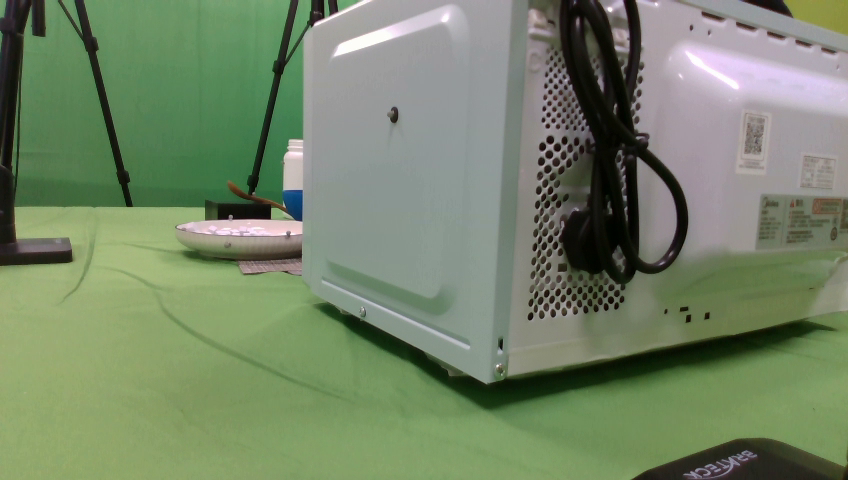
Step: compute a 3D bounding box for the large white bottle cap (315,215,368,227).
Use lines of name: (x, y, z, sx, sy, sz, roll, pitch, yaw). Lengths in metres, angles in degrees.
large white bottle cap: (-0.177, -0.041, 1.309, 0.115, 0.018, 0.115, 2, 6, 0)

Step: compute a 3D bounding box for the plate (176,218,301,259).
plate: (-0.248, -0.003, 0.877, 0.209, 0.038, 0.209, 1, 8, 0)

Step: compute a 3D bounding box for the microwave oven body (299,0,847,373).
microwave oven body: (0.152, -0.055, 0.542, 0.444, 0.260, 0.324, -2, 7, -33)

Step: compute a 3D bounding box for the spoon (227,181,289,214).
spoon: (-0.315, -0.074, 1.235, 0.195, 0.021, 0.041, 24, -11, -37)

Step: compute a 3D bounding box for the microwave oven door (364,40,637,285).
microwave oven door: (0.105, -0.081, 0.693, 0.358, 0.243, 0.039, -2, 9, -30)

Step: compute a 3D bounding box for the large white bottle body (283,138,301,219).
large white bottle body: (-0.265, -0.143, 1.423, 0.131, 0.184, 0.130, 2, 7, 0)

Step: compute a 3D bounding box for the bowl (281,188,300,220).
bowl: (-0.191, -0.053, 1.129, 0.151, 0.077, 0.151, 3, 8, 0)

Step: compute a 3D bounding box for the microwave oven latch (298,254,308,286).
microwave oven latch: (-0.081, 0.028, 0.582, 0.079, 0.029, 0.030, -2, 7, -33)
